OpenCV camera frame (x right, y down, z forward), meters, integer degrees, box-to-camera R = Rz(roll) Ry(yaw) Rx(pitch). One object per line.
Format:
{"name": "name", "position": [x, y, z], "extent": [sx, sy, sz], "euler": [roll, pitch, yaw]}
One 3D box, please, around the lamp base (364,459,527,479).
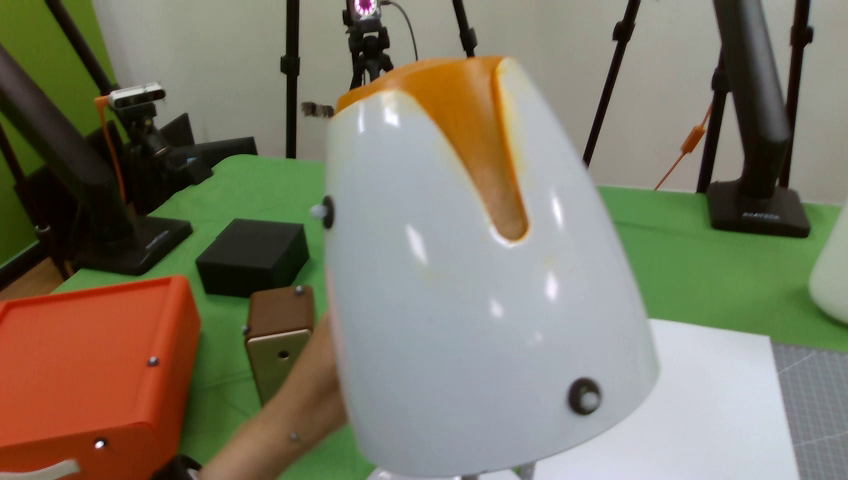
{"name": "lamp base", "position": [0.006, 0.153, 0.428], "extent": [0.161, 0.182, 0.177], "euler": [-10, 31, -7]}

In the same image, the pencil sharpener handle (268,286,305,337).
{"name": "pencil sharpener handle", "position": [-0.140, 0.067, 0.621], "extent": [0.036, 0.068, 0.030], "euler": [-4, 33, -10]}

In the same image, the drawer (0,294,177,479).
{"name": "drawer", "position": [-0.330, 0.136, 0.581], "extent": [0.195, 0.074, 0.209], "euler": [-9, 33, -7]}

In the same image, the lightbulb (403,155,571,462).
{"name": "lightbulb", "position": [0.019, 0.024, 0.213], "extent": [0.059, 0.108, 0.059], "euler": [-7, 9, 1]}

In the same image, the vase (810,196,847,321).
{"name": "vase", "position": [0.469, -0.010, 0.617], "extent": [0.098, 0.201, 0.097], "euler": [-3, 32, 2]}

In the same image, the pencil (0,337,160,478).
{"name": "pencil", "position": [-0.323, 0.156, 0.557], "extent": [0.012, 0.012, 0.193], "euler": [22, 53, 34]}

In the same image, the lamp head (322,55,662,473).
{"name": "lamp head", "position": [0.013, -0.001, 0.216], "extent": [0.112, 0.123, 0.112], "euler": [-18, 4, 2]}

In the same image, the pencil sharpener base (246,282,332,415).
{"name": "pencil sharpener base", "position": [-0.128, 0.104, 0.586], "extent": [0.061, 0.108, 0.076], "euler": [-9, 33, -7]}

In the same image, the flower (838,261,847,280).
{"name": "flower", "position": [0.451, -0.068, 0.556], "extent": [0.038, 0.365, 0.043], "euler": [-29, 53, -12]}

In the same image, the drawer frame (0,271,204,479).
{"name": "drawer frame", "position": [-0.332, 0.134, 0.583], "extent": [0.202, 0.083, 0.211], "euler": [-10, 33, -7]}
